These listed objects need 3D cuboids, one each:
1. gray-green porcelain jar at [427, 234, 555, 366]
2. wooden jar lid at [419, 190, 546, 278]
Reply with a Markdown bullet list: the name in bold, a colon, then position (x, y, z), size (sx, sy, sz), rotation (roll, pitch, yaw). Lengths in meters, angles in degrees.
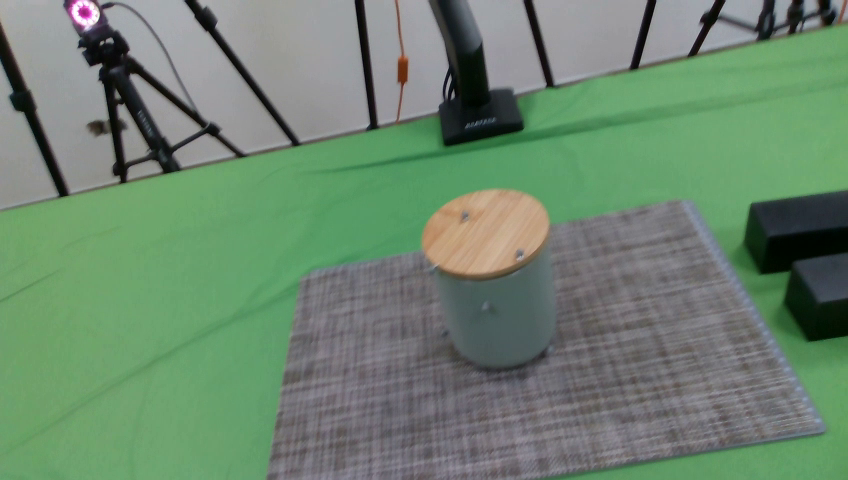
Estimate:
- **gray-green porcelain jar**: position (0.064, 0.045, 0.555), size (0.106, 0.128, 0.105), rotation (-9, 40, 8)
- **wooden jar lid**: position (0.050, -0.003, 0.514), size (0.108, 0.021, 0.107), rotation (-9, 41, 8)
